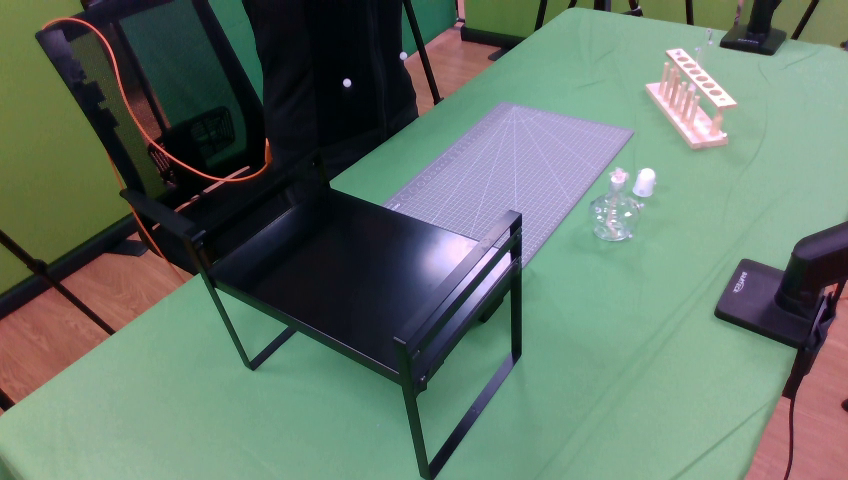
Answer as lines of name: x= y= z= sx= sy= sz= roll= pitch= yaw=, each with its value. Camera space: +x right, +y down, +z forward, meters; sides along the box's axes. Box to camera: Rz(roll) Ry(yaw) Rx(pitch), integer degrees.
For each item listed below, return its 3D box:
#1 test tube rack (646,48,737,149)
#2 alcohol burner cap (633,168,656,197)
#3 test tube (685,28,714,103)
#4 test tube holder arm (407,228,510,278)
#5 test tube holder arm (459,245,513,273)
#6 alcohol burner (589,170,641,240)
test tube rack: x=0.511 y=-0.280 z=1.175 sx=0.067 sy=0.085 sz=0.241 roll=-8 pitch=41 yaw=1
alcohol burner cap: x=0.374 y=-0.099 z=1.018 sx=0.034 sy=0.048 sz=0.033 roll=0 pitch=41 yaw=1
test tube: x=0.524 y=-0.328 z=1.152 sx=0.017 sy=0.151 sz=0.017 roll=-1 pitch=42 yaw=1
test tube holder arm: x=0.046 y=0.017 z=0.877 sx=0.177 sy=0.015 sz=0.013 roll=21 pitch=64 yaw=30
test tube holder arm: x=0.085 y=0.027 z=0.857 sx=0.087 sy=0.015 sz=0.010 roll=21 pitch=64 yaw=30
alcohol burner: x=0.295 y=-0.058 z=0.930 sx=0.078 sy=0.119 sz=0.077 roll=-3 pitch=41 yaw=3
